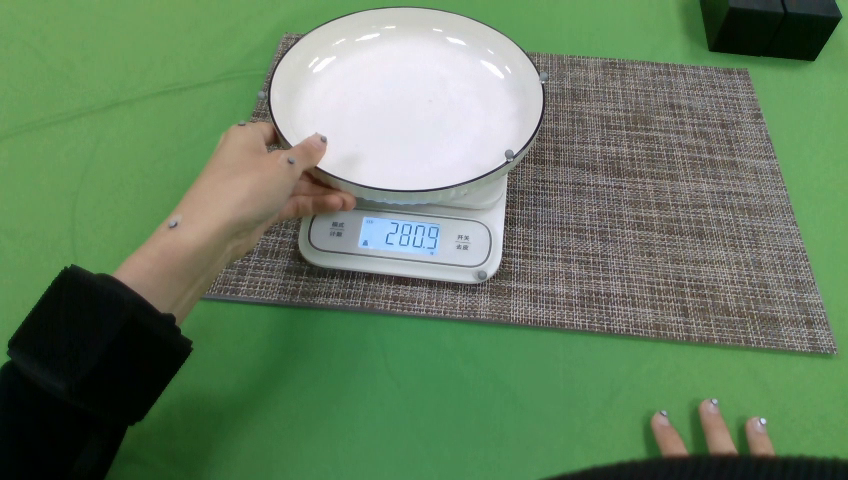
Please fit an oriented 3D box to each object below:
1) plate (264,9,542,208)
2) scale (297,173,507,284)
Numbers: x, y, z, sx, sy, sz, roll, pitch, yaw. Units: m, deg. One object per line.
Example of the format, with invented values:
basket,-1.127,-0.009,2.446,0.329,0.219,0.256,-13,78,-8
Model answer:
plate,-0.015,-0.102,0.468,0.208,0.039,0.205,1,54,-2
scale,-0.009,-0.060,0.478,0.148,0.032,0.199,6,54,4
